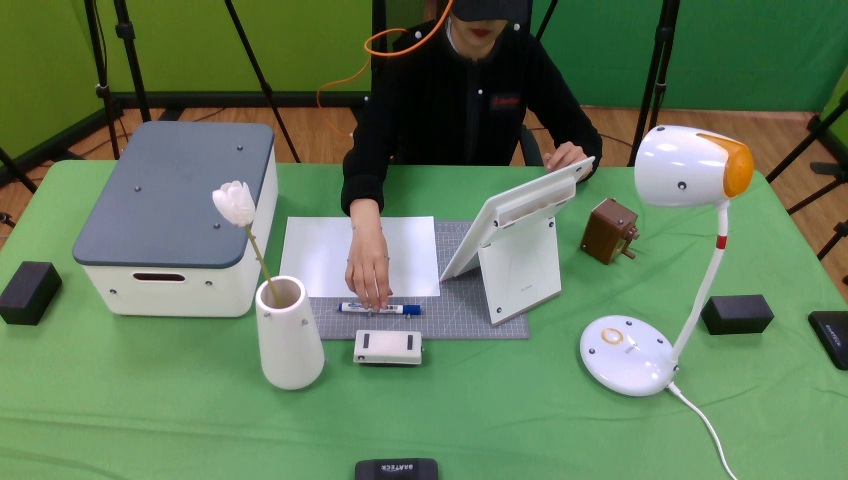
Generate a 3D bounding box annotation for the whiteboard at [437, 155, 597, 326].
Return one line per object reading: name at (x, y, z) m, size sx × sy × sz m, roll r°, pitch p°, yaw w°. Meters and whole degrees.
whiteboard at (0.180, 0.023, 1.029) m, size 0.217 × 0.306 × 0.143 m, roll -21°, pitch 70°, yaw -23°

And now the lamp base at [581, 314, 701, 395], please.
lamp base at (0.361, 0.145, 0.973) m, size 0.178 × 0.181 × 0.160 m, roll 34°, pitch 53°, yaw 23°

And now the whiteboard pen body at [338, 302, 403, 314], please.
whiteboard pen body at (-0.083, 0.121, 1.074) m, size 0.141 × 0.017 × 0.017 m, roll 3°, pitch 46°, yaw -1°

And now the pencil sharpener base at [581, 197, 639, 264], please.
pencil sharpener base at (0.362, -0.017, 1.179) m, size 0.076 × 0.107 × 0.061 m, roll 37°, pitch 54°, yaw 27°

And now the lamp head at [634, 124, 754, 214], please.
lamp head at (0.351, -0.089, 0.776) m, size 0.112 × 0.113 × 0.122 m, roll -30°, pitch 30°, yaw -28°

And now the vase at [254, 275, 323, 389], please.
vase at (-0.209, 0.143, 0.921) m, size 0.098 × 0.201 × 0.097 m, roll 1°, pitch 46°, yaw -1°

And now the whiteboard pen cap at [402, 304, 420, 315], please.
whiteboard pen cap at (-0.024, 0.123, 1.076) m, size 0.033 × 0.018 × 0.018 m, roll 1°, pitch 46°, yaw 1°

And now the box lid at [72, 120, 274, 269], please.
box lid at (-0.417, -0.094, 1.056) m, size 0.263 × 0.015 × 0.369 m, roll 1°, pitch 47°, yaw -3°

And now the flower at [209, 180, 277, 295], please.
flower at (-0.217, 0.075, 0.871) m, size 0.044 × 0.363 × 0.038 m, roll -29°, pitch 36°, yaw -19°

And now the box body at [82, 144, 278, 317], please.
box body at (-0.421, -0.041, 1.108) m, size 0.254 × 0.161 × 0.361 m, roll 2°, pitch 46°, yaw -3°

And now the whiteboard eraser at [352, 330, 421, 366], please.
whiteboard eraser at (-0.060, 0.180, 1.005) m, size 0.113 × 0.042 × 0.055 m, roll 3°, pitch 48°, yaw -2°

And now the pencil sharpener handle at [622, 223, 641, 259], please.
pencil sharpener handle at (0.397, 0.003, 1.146) m, size 0.030 × 0.068 × 0.036 m, roll 37°, pitch 46°, yaw 27°
